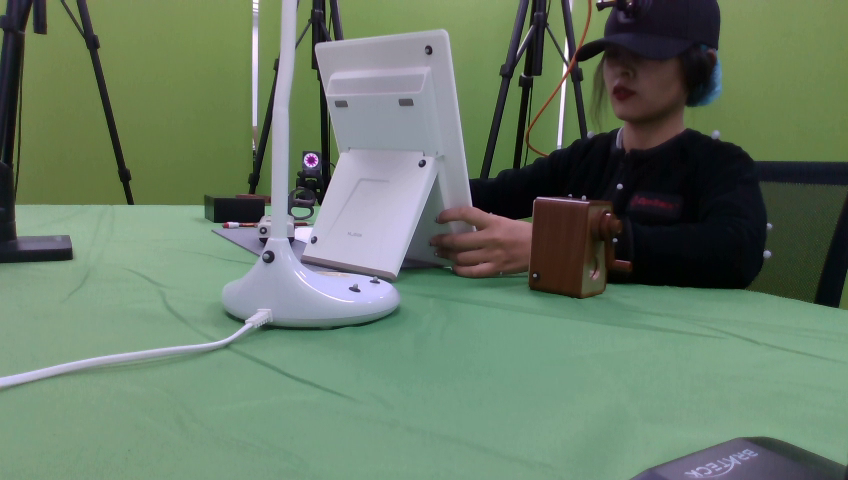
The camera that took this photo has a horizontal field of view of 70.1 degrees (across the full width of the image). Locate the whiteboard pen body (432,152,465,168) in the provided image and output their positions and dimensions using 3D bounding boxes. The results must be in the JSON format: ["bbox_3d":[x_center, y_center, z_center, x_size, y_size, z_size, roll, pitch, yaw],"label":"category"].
[{"bbox_3d":[0.033,-0.110,0.830,0.017,0.017,0.141,5,6,17],"label":"whiteboard pen body"}]

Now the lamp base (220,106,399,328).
[{"bbox_3d":[-0.101,-0.023,0.531,0.160,0.180,0.179,4,10,10],"label":"lamp base"}]

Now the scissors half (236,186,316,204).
[{"bbox_3d":[-0.320,-0.097,1.316,0.176,0.040,0.013,-3,11,-29],"label":"scissors half"}]

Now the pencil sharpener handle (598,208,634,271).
[{"bbox_3d":[0.208,0.000,0.644,0.030,0.068,0.036,10,23,42],"label":"pencil sharpener handle"}]

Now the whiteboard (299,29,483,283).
[{"bbox_3d":[-0.074,-0.082,0.741,0.216,0.305,0.144,9,30,38],"label":"whiteboard"}]

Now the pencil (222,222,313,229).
[{"bbox_3d":[-0.302,-0.030,1.189,0.195,0.012,0.012,-2,9,-42],"label":"pencil"}]

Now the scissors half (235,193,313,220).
[{"bbox_3d":[-0.324,-0.077,1.319,0.176,0.040,0.012,17,6,-31],"label":"scissors half"}]

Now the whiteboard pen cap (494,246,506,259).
[{"bbox_3d":[0.117,0.019,0.932,0.018,0.018,0.033,3,7,5],"label":"whiteboard pen cap"}]

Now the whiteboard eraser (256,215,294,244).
[{"bbox_3d":[-0.232,-0.016,0.951,0.056,0.042,0.112,2,7,-12],"label":"whiteboard eraser"}]

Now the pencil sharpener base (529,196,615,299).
[{"bbox_3d":[0.168,0.007,0.678,0.076,0.107,0.062,10,10,42],"label":"pencil sharpener base"}]
